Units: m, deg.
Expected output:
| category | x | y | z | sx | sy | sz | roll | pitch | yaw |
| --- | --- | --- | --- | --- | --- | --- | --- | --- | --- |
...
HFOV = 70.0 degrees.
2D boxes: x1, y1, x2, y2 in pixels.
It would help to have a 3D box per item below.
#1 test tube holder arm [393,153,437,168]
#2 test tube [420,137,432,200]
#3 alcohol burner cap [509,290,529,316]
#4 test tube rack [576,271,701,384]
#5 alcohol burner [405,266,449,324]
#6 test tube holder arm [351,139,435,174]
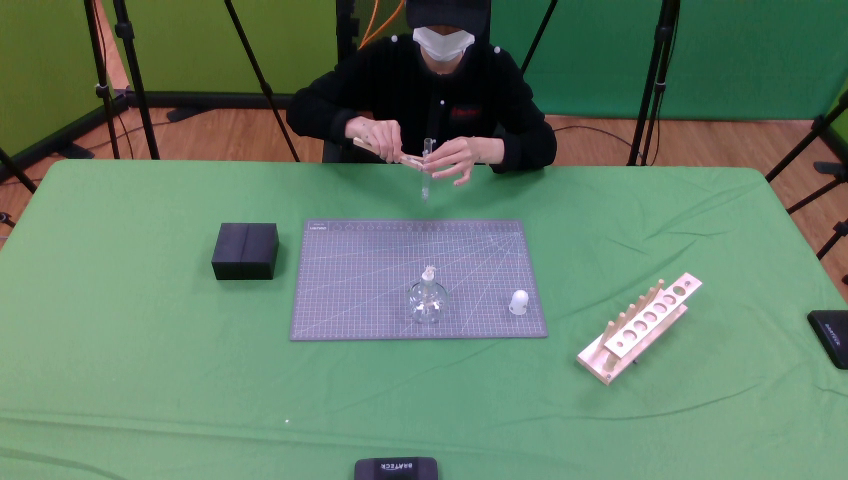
| category | x | y | z | sx | sy | sz | roll | pitch | yaw |
| --- | --- | --- | --- | --- | --- | --- | --- | --- | --- |
| test tube holder arm | -0.018 | -0.154 | 1.168 | 0.088 | 0.015 | 0.010 | 9 | 44 | 2 |
| test tube | 0.003 | -0.134 | 1.168 | 0.017 | 0.151 | 0.017 | 2 | 47 | -2 |
| alcohol burner cap | 0.171 | 0.110 | 1.086 | 0.034 | 0.048 | 0.033 | 2 | 45 | -2 |
| test tube rack | 0.373 | 0.138 | 1.047 | 0.242 | 0.085 | 0.066 | -31 | 56 | -29 |
| alcohol burner | 0.005 | 0.089 | 1.043 | 0.078 | 0.120 | 0.077 | 1 | 45 | -1 |
| test tube holder arm | -0.062 | -0.162 | 1.171 | 0.178 | 0.015 | 0.013 | 20 | 45 | 12 |
